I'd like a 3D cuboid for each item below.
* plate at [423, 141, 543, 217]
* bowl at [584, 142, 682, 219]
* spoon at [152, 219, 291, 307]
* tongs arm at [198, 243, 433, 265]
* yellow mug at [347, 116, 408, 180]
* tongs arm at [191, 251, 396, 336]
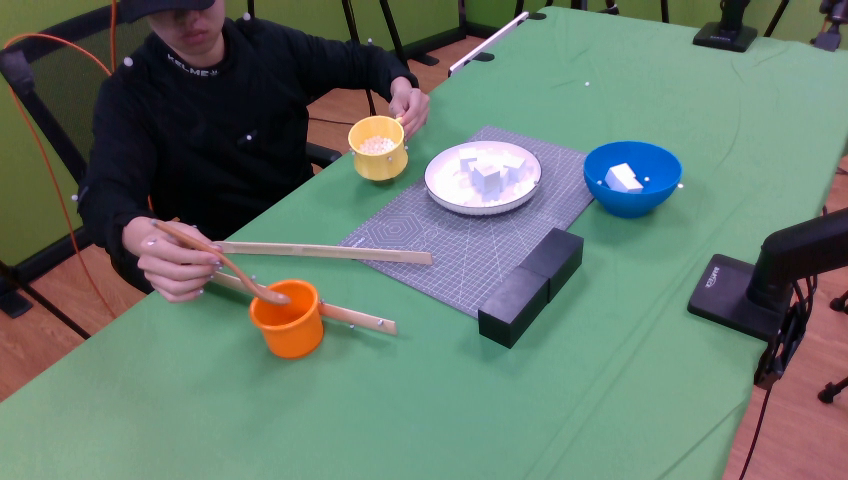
[{"bbox_3d":[0.103,-0.103,1.059,0.207,0.039,0.206,-4,40,4],"label":"plate"},{"bbox_3d":[0.333,-0.087,0.980,0.151,0.077,0.150,-4,40,4],"label":"bowl"},{"bbox_3d":[-0.243,0.030,0.737,0.021,0.195,0.041,-50,28,-5],"label":"spoon"},{"bbox_3d":[-0.176,0.025,0.960,0.386,0.028,0.028,2,45,12],"label":"tongs arm"},{"bbox_3d":[-0.073,-0.175,1.088,0.099,0.064,0.131,32,61,24],"label":"yellow mug"},{"bbox_3d":[-0.204,0.075,0.902,0.382,0.026,0.051,11,44,22],"label":"tongs arm"}]
